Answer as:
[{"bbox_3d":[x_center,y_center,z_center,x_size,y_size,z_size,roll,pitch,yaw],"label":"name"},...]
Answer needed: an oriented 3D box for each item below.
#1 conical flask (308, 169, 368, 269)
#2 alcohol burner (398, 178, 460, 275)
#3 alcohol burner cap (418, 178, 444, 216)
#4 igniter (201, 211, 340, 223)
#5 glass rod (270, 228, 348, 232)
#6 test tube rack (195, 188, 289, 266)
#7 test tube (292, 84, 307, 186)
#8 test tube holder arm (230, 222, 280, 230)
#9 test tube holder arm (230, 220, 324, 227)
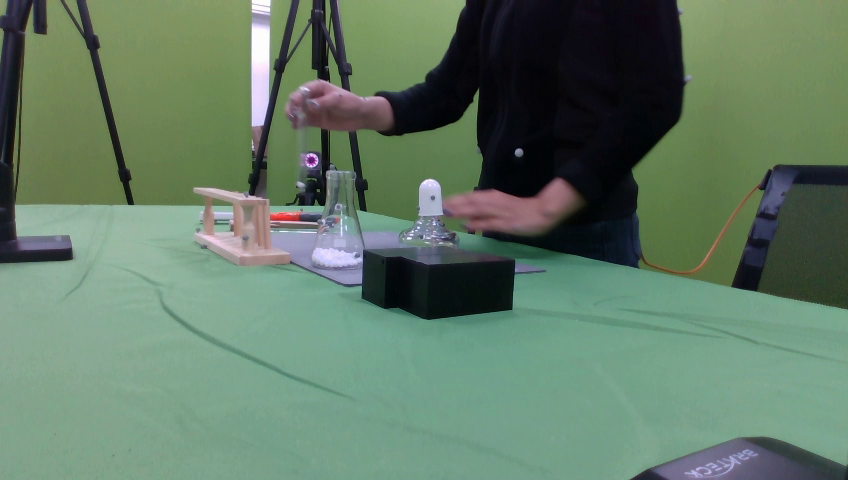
[{"bbox_3d":[-0.107,-0.027,0.762,0.075,0.122,0.075,2,7,0],"label":"conical flask"},{"bbox_3d":[0.007,-0.017,0.751,0.078,0.119,0.078,3,10,0],"label":"alcohol burner"},{"bbox_3d":[0.007,-0.053,0.745,0.034,0.048,0.034,-3,6,1],"label":"alcohol burner cap"},{"bbox_3d":[-0.311,-0.047,1.243,0.278,0.025,0.057,-1,-2,-24],"label":"igniter"},{"bbox_3d":[-0.234,-0.018,1.104,0.201,0.008,0.008,1,7,-26],"label":"glass rod"},{"bbox_3d":[-0.266,-0.025,0.863,0.067,0.085,0.241,-2,8,-33],"label":"test tube rack"},{"bbox_3d":[-0.186,-0.156,0.903,0.017,0.150,0.017,4,6,0],"label":"test tube"},{"bbox_3d":[-0.312,-0.025,1.118,0.088,0.015,0.010,-1,45,-30],"label":"test tube holder arm"},{"bbox_3d":[-0.275,-0.030,1.145,0.179,0.015,0.013,-2,45,-31],"label":"test tube holder arm"}]
